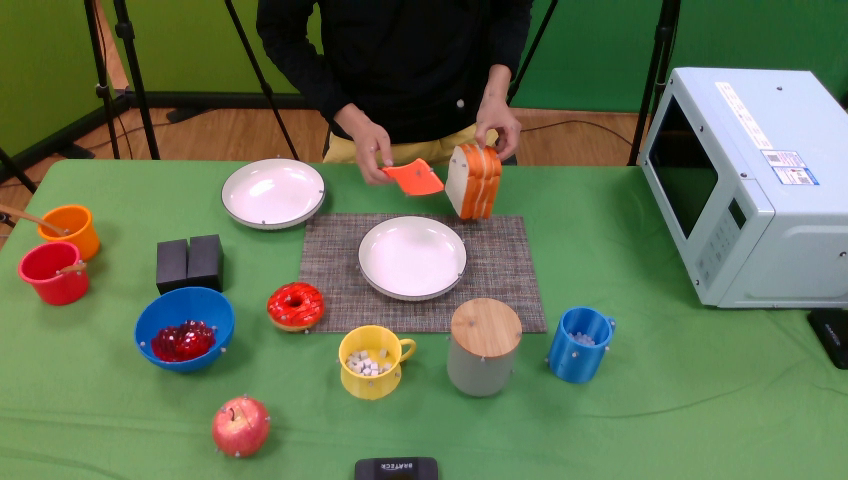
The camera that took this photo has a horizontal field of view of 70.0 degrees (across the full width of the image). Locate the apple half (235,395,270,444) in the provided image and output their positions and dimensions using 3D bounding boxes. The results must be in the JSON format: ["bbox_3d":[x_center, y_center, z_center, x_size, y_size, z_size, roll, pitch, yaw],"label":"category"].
[{"bbox_3d":[-0.245,0.259,0.893,0.033,0.082,0.081,-29,55,-22],"label":"apple half"}]

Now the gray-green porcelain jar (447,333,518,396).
[{"bbox_3d":[0.091,0.178,0.960,0.106,0.127,0.105,2,46,-2],"label":"gray-green porcelain jar"}]

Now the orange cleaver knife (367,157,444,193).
[{"bbox_3d":[-0.037,-0.116,1.114,0.012,0.077,0.210,-46,27,-23],"label":"orange cleaver knife"}]

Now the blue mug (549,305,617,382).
[{"bbox_3d":[0.269,0.165,0.998,0.116,0.106,0.082,-19,51,-21],"label":"blue mug"}]

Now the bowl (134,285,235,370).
[{"bbox_3d":[-0.377,0.155,0.981,0.151,0.077,0.150,2,46,-2],"label":"bowl"}]

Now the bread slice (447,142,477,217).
[{"bbox_3d":[0.075,-0.127,1.201,0.019,0.132,0.104,-6,41,-17],"label":"bread slice"}]

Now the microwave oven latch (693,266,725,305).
[{"bbox_3d":[0.523,0.082,1.115,0.030,0.029,0.078,3,46,0],"label":"microwave oven latch"}]

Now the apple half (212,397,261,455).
[{"bbox_3d":[-0.276,0.276,0.877,0.053,0.075,0.080,-29,58,-21],"label":"apple half"}]

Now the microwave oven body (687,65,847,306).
[{"bbox_3d":[0.669,-0.111,1.176,0.326,0.261,0.439,0,46,-3],"label":"microwave oven body"}]

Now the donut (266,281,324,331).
[{"bbox_3d":[-0.222,0.114,1.049,0.099,0.048,0.098,2,45,-2],"label":"donut"}]

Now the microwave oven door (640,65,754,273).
[{"bbox_3d":[0.523,-0.147,1.193,0.039,0.245,0.353,0,47,-3],"label":"microwave oven door"}]

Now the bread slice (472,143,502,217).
[{"bbox_3d":[0.119,-0.126,1.217,0.018,0.135,0.106,-2,45,-23],"label":"bread slice"}]

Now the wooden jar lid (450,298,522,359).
[{"bbox_3d":[0.093,0.135,0.914,0.108,0.021,0.107,2,48,-3],"label":"wooden jar lid"}]

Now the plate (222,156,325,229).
[{"bbox_3d":[-0.308,-0.095,1.251,0.209,0.038,0.208,3,47,-2],"label":"plate"}]

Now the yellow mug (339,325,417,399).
[{"bbox_3d":[-0.072,0.190,0.978,0.131,0.064,0.099,-17,50,-20],"label":"yellow mug"}]

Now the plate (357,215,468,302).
[{"bbox_3d":[-0.022,0.037,1.141,0.208,0.039,0.206,2,46,-2],"label":"plate"}]

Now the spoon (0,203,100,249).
[{"bbox_3d":[-0.683,-0.031,1.088,0.195,0.021,0.041,33,33,-38],"label":"spoon"}]

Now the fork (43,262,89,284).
[{"bbox_3d":[-0.599,0.053,1.013,0.207,0.019,0.028,-14,30,45],"label":"fork"}]
